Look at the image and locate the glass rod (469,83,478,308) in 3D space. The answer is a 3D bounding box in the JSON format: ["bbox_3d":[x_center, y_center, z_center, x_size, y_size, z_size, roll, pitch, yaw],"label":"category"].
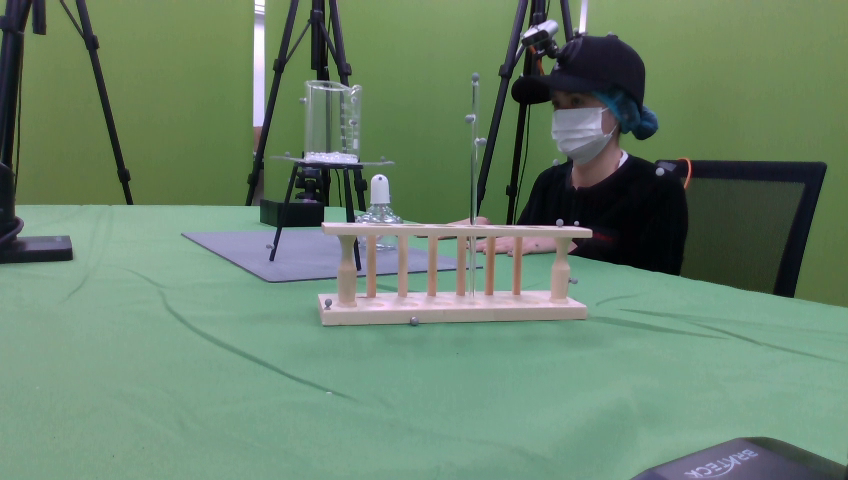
[{"bbox_3d":[0.043,-0.033,0.523,0.008,0.199,0.008,-1,14,1],"label":"glass rod"}]

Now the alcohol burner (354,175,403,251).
[{"bbox_3d":[-0.072,-0.042,0.944,0.078,0.119,0.078,1,9,0],"label":"alcohol burner"}]

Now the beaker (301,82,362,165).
[{"bbox_3d":[-0.117,-0.147,0.776,0.074,0.100,0.083,-3,10,-38],"label":"beaker"}]

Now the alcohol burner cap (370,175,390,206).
[{"bbox_3d":[-0.069,-0.077,0.939,0.034,0.048,0.034,-1,6,0],"label":"alcohol burner cap"}]

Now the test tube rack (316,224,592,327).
[{"bbox_3d":[0.026,0.028,0.555,0.243,0.085,0.066,1,7,-15],"label":"test tube rack"}]

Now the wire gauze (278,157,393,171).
[{"bbox_3d":[-0.122,-0.100,0.786,0.122,0.011,0.124,-5,14,-38],"label":"wire gauze"}]

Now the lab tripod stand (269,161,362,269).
[{"bbox_3d":[-0.125,-0.036,0.794,0.148,0.131,0.148,5,7,0],"label":"lab tripod stand"}]
